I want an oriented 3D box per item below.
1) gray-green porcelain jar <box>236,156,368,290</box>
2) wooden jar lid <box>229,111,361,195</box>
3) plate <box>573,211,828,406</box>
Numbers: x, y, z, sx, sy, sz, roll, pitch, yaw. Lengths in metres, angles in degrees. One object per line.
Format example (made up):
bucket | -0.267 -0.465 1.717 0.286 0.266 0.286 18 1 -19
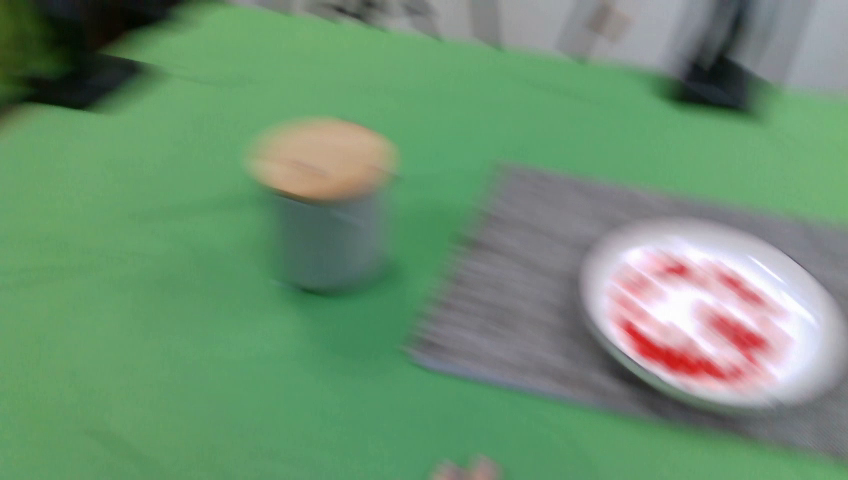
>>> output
gray-green porcelain jar | -0.106 -0.025 0.556 0.106 0.127 0.105 0 45 0
wooden jar lid | -0.107 -0.071 0.510 0.108 0.021 0.107 2 46 -2
plate | 0.234 0.057 0.533 0.208 0.039 0.205 0 45 0
